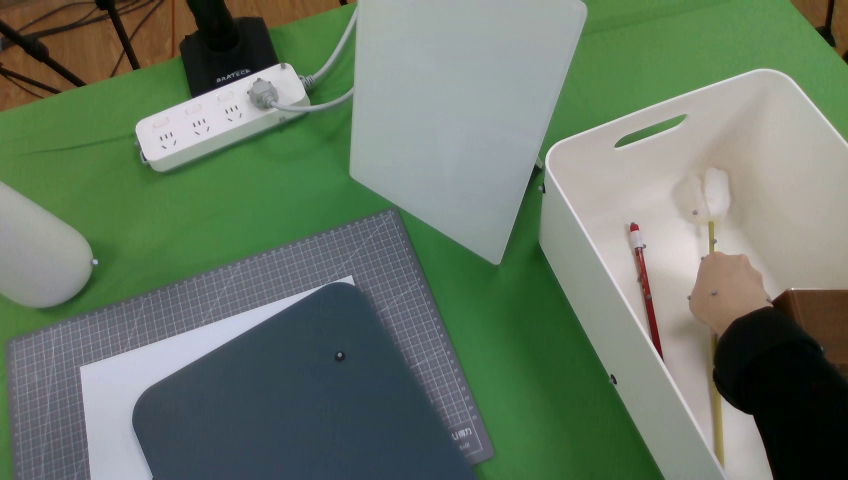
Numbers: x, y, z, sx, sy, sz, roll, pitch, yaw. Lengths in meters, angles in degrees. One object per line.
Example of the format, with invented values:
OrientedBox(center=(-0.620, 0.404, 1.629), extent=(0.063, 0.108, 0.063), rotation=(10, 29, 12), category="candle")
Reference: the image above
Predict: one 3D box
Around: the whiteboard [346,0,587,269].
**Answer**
OrientedBox(center=(0.053, -0.158, 0.631), extent=(0.216, 0.308, 0.143), rotation=(32, 51, 18), category="whiteboard")

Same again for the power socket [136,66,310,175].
OrientedBox(center=(-0.251, -0.152, 0.764), extent=(0.227, 0.033, 0.071), rotation=(-25, 65, -9), category="power socket")

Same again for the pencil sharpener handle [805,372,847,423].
OrientedBox(center=(0.348, 0.137, 0.522), extent=(0.036, 0.068, 0.030), rotation=(-5, 63, 13), category="pencil sharpener handle")

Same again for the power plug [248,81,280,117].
OrientedBox(center=(-0.194, -0.161, 0.739), extent=(0.035, 0.053, 0.072), rotation=(-16, 65, -4), category="power plug")

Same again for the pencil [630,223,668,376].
OrientedBox(center=(0.236, 0.070, 0.631), extent=(0.012, 0.012, 0.192), rotation=(-3, 66, 2), category="pencil")

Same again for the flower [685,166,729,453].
OrientedBox(center=(0.284, 0.085, 0.607), extent=(0.044, 0.038, 0.359), rotation=(-6, 61, 34), category="flower")

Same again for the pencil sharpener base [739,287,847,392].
OrientedBox(center=(0.347, 0.097, 0.556), extent=(0.061, 0.108, 0.076), rotation=(0, 63, 3), category="pencil sharpener base")

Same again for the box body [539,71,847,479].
OrientedBox(center=(0.288, 0.057, 0.555), extent=(0.254, 0.161, 0.360), rotation=(-21, 64, -7), category="box body")

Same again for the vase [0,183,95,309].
OrientedBox(center=(-0.424, -0.003, 0.607), extent=(0.098, 0.201, 0.097), rotation=(-2, 63, 4), category="vase")

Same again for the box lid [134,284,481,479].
OrientedBox(center=(-0.095, 0.236, 0.572), extent=(0.263, 0.015, 0.368), rotation=(-31, 67, -12), category="box lid")
